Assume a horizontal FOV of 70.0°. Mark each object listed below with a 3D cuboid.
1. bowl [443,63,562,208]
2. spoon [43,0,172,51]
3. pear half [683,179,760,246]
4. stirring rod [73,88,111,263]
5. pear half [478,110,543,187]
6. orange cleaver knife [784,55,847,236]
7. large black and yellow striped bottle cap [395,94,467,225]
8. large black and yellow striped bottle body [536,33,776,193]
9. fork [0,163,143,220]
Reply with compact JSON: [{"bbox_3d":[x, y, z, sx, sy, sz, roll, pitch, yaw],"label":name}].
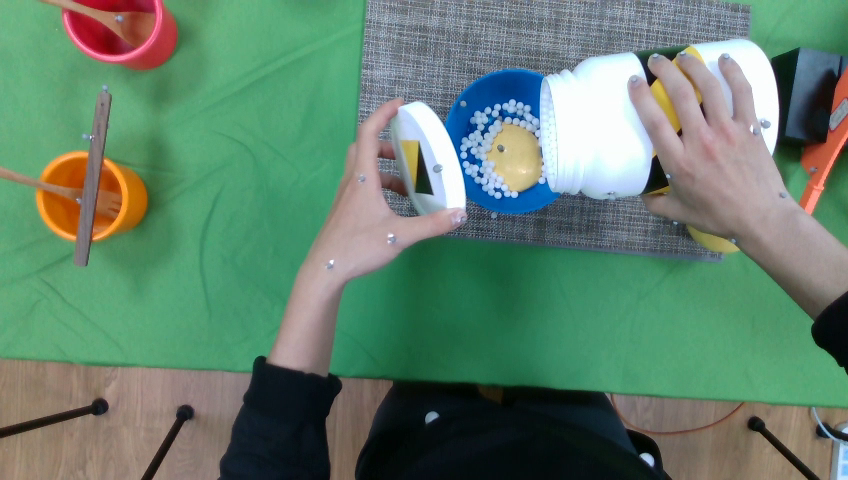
[{"bbox_3d":[0.089,-0.109,0.665,0.151,0.076,0.151,0,94,-4],"label":"bowl"},{"bbox_3d":[-0.348,-0.233,0.598,0.195,0.021,0.041,8,96,-48],"label":"spoon"},{"bbox_3d":[0.328,-0.029,0.672,0.056,0.110,0.076,-15,90,-2],"label":"pear half"},{"bbox_3d":[-0.332,-0.064,0.605,0.014,0.006,0.176,9,94,-7],"label":"stirring rod"},{"bbox_3d":[0.094,-0.103,0.660,0.070,0.031,0.088,-23,91,-2],"label":"pear half"},{"bbox_3d":[0.454,-0.106,0.693,0.012,0.076,0.213,7,122,1],"label":"orange cleaver knife"},{"bbox_3d":[0.004,-0.069,0.533,0.019,0.114,0.115,-20,95,-16],"label":"large black and yellow striped bottle cap"},{"bbox_3d":[0.204,-0.113,0.561,0.184,0.130,0.131,-6,94,3],"label":"large black and yellow striped bottle body"},{"bbox_3d":[-0.384,-0.060,0.603,0.209,0.018,0.028,23,102,-49],"label":"fork"}]
